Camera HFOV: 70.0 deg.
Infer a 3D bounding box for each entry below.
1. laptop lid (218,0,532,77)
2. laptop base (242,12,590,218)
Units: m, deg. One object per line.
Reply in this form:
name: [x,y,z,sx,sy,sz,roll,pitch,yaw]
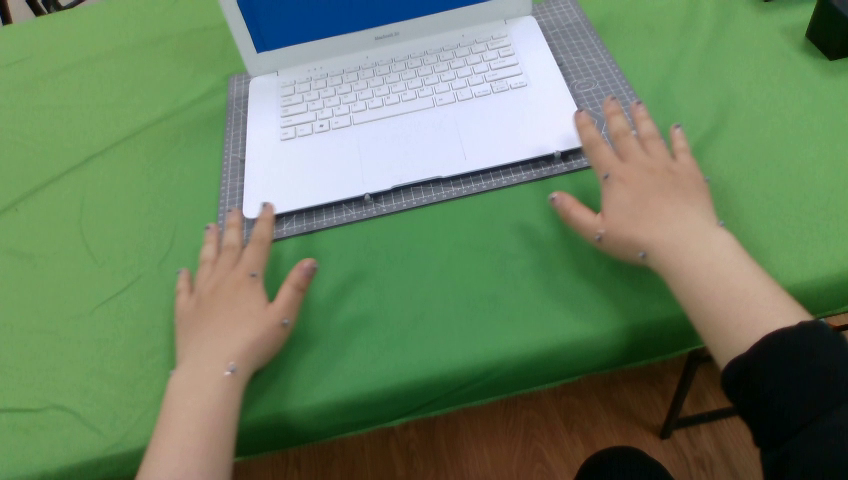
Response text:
laptop lid: [-0.062,-0.318,0.660,0.357,0.244,0.013,-14,43,3]
laptop base: [-0.023,-0.143,0.667,0.354,0.023,0.233,-13,53,2]
